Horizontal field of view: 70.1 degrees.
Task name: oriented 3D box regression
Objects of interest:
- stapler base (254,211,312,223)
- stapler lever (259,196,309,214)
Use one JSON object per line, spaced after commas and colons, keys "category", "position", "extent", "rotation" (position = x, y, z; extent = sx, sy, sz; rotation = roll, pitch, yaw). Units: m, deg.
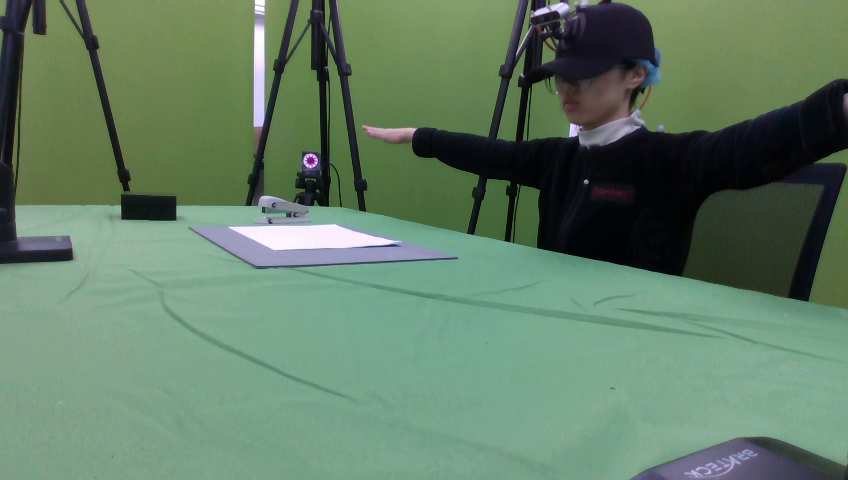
{"category": "stapler base", "position": [-0.302, -0.052, 1.301], "extent": [0.041, 0.024, 0.131], "rotation": [11, 10, 38]}
{"category": "stapler lever", "position": [-0.301, -0.076, 1.300], "extent": [0.026, 0.040, 0.119], "rotation": [11, 11, 38]}
